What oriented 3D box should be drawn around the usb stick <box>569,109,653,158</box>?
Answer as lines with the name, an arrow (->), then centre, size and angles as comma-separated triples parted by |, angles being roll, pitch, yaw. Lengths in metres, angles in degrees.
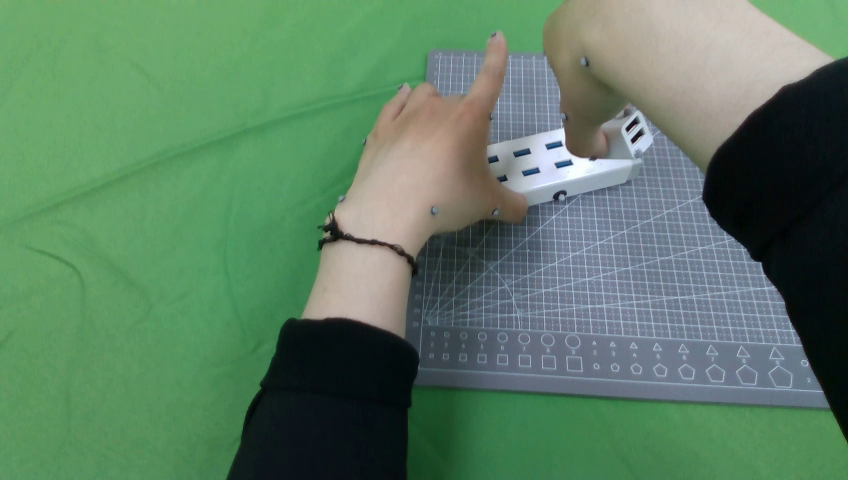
usb stick -> 0.114, -0.069, 0.390 | 0.021, 0.027, 0.058 | -47, 27, -16

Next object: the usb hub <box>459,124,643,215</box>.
usb hub -> 0.092, -0.056, 0.446 | 0.125, 0.025, 0.049 | -13, 61, -9
